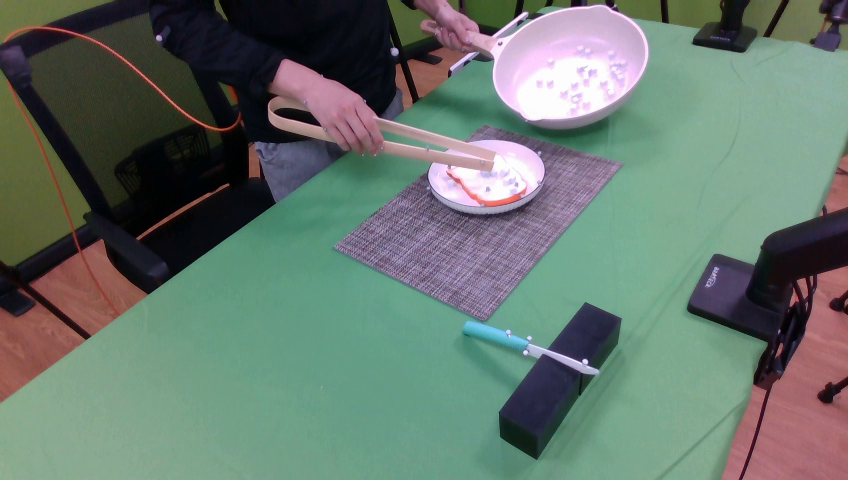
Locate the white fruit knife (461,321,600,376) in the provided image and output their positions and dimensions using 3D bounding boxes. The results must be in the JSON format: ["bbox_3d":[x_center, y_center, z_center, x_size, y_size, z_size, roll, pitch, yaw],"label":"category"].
[{"bbox_3d":[0.126,0.133,0.752,0.205,0.027,0.016,12,45,42],"label":"white fruit knife"}]

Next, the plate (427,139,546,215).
[{"bbox_3d":[0.109,-0.106,1.058,0.207,0.039,0.206,-4,40,4],"label":"plate"}]

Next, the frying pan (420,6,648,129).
[{"bbox_3d":[0.199,-0.374,1.222,0.485,0.103,0.307,27,71,22],"label":"frying pan"}]

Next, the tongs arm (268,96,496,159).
[{"bbox_3d":[-0.068,-0.188,1.019,0.388,0.028,0.028,13,57,-3],"label":"tongs arm"}]

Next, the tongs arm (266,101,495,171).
[{"bbox_3d":[-0.072,-0.171,1.006,0.386,0.026,0.050,9,54,-6],"label":"tongs arm"}]

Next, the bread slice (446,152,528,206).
[{"bbox_3d":[0.117,-0.105,1.057,0.107,0.018,0.133,-24,42,-18],"label":"bread slice"}]
